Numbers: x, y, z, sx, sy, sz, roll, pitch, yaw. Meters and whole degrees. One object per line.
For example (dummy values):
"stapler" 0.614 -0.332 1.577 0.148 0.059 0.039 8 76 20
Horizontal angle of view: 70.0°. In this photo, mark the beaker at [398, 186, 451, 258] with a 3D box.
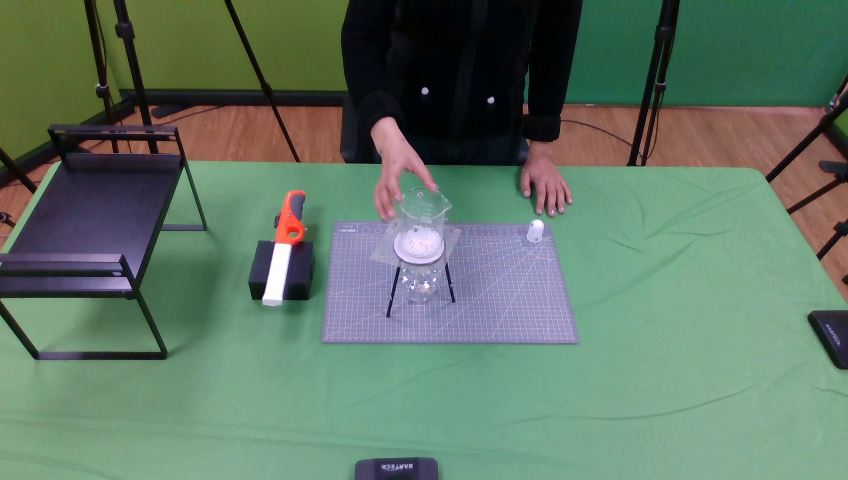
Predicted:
"beaker" -0.001 -0.026 0.984 0.084 0.101 0.073 1 48 -3

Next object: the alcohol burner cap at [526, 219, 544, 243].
"alcohol burner cap" 0.226 -0.021 1.219 0.034 0.048 0.033 1 45 -1

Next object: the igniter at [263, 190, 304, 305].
"igniter" -0.255 0.004 1.107 0.057 0.025 0.274 5 46 -7

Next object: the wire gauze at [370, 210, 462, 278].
"wire gauze" -0.012 0.007 1.019 0.121 0.011 0.124 16 51 13

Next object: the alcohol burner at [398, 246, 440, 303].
"alcohol burner" -0.008 0.056 1.077 0.078 0.119 0.077 3 44 -3

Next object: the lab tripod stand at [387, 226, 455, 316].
"lab tripod stand" -0.013 0.054 1.064 0.148 0.132 0.147 2 48 -2
